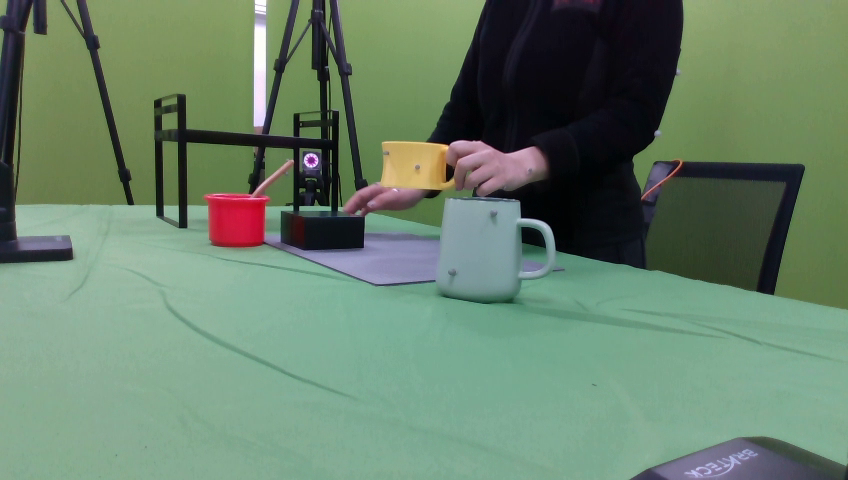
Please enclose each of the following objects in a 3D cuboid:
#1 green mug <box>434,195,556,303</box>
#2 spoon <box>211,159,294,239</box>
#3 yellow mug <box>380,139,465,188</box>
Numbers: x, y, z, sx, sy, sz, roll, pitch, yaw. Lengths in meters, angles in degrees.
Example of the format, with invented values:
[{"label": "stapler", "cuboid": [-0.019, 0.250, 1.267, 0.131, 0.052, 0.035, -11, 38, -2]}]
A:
[{"label": "green mug", "cuboid": [0.074, 0.009, 0.624, 0.125, 0.105, 0.093, 5, 7, 23]}, {"label": "spoon", "cuboid": [-0.270, -0.069, 0.970, 0.041, 0.022, 0.194, 6, 52, 42]}, {"label": "yellow mug", "cuboid": [0.001, -0.109, 0.868, 0.130, 0.064, 0.100, 7, 6, 32]}]
